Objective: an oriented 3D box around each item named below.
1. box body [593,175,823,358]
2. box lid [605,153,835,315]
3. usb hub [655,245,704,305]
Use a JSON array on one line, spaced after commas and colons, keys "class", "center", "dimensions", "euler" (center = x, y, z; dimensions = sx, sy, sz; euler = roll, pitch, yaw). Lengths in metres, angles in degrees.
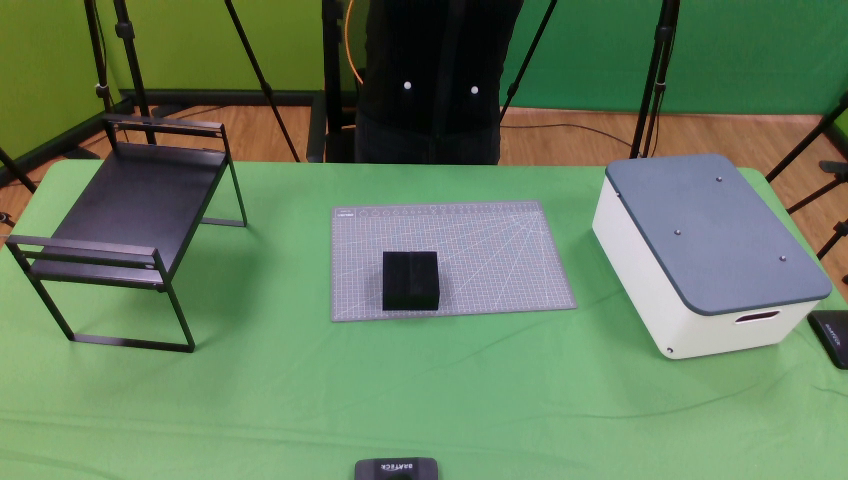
[{"class": "box body", "center": [0.496, 0.023, 1.112], "dimensions": [0.254, 0.161, 0.361], "euler": [-7, 47, -10]}, {"class": "box lid", "center": [0.499, -0.030, 1.060], "dimensions": [0.264, 0.015, 0.369], "euler": [-6, 47, -10]}, {"class": "usb hub", "center": [0.481, 0.065, 1.148], "dimensions": [0.049, 0.025, 0.124], "euler": [-1, 53, -8]}]
